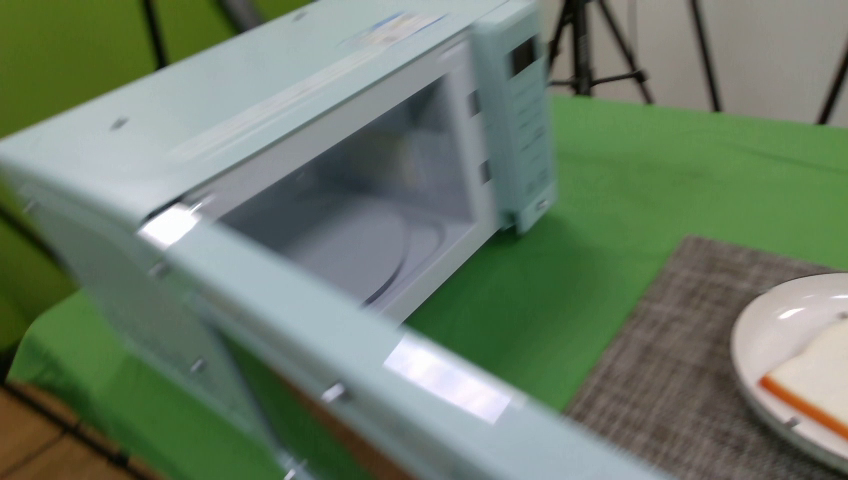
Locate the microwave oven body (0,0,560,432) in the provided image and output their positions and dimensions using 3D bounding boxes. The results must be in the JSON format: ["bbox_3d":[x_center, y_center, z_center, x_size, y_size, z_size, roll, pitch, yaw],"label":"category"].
[{"bbox_3d":[-0.109,-0.067,0.635,0.323,0.263,0.441,19,46,36],"label":"microwave oven body"}]

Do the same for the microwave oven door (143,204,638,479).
[{"bbox_3d":[-0.014,0.130,0.320,0.352,0.246,0.039,23,49,40],"label":"microwave oven door"}]

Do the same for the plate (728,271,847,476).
[{"bbox_3d":[0.341,0.100,0.450,0.209,0.038,0.207,-11,33,7],"label":"plate"}]

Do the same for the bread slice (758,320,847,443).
[{"bbox_3d":[0.339,0.101,0.454,0.131,0.019,0.104,-29,36,-20],"label":"bread slice"}]

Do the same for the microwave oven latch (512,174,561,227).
[{"bbox_3d":[0.131,-0.049,0.705,0.030,0.030,0.079,20,47,36],"label":"microwave oven latch"}]
